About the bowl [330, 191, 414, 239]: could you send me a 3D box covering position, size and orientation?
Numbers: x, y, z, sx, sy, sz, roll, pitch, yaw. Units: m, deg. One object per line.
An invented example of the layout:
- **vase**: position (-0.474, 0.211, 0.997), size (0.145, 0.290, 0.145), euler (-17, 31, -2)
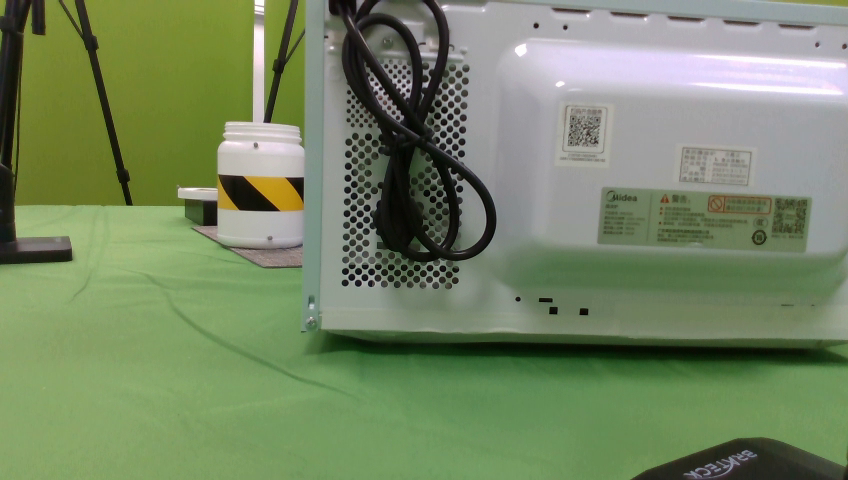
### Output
- **bowl**: position (-0.095, -0.044, 1.095), size (0.151, 0.077, 0.151), euler (3, 8, 0)

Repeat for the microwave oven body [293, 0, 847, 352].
- **microwave oven body**: position (0.122, -0.055, 0.550), size (0.442, 0.260, 0.325), euler (3, 7, -5)

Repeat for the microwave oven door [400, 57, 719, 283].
- **microwave oven door**: position (0.154, -0.078, 0.702), size (0.356, 0.243, 0.039), euler (2, 8, -3)

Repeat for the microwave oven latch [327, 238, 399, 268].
- **microwave oven latch**: position (-0.069, 0.015, 0.694), size (0.079, 0.029, 0.030), euler (3, 7, -3)

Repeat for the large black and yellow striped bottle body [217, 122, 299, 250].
- **large black and yellow striped bottle body**: position (-0.250, -0.084, 0.931), size (0.131, 0.184, 0.130), euler (3, 7, 0)

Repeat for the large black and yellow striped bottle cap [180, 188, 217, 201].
- **large black and yellow striped bottle cap**: position (-0.434, -0.093, 1.226), size (0.115, 0.019, 0.115), euler (3, 9, 0)
